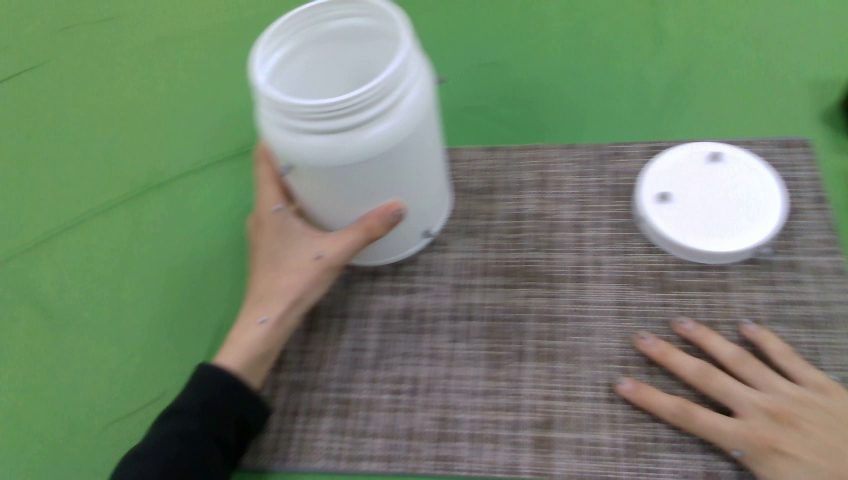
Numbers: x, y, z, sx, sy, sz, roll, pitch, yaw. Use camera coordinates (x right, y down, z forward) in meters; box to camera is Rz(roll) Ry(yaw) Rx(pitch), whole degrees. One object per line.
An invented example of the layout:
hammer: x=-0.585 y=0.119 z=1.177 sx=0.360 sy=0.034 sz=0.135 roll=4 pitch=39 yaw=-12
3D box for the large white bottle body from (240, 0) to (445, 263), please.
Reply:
large white bottle body: x=-0.057 y=-0.080 z=0.477 sx=0.130 sy=0.186 sz=0.129 roll=-4 pitch=57 yaw=7

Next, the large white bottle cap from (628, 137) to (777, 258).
large white bottle cap: x=0.230 y=-0.038 z=0.504 sx=0.115 sy=0.018 sz=0.114 roll=-4 pitch=58 yaw=6
